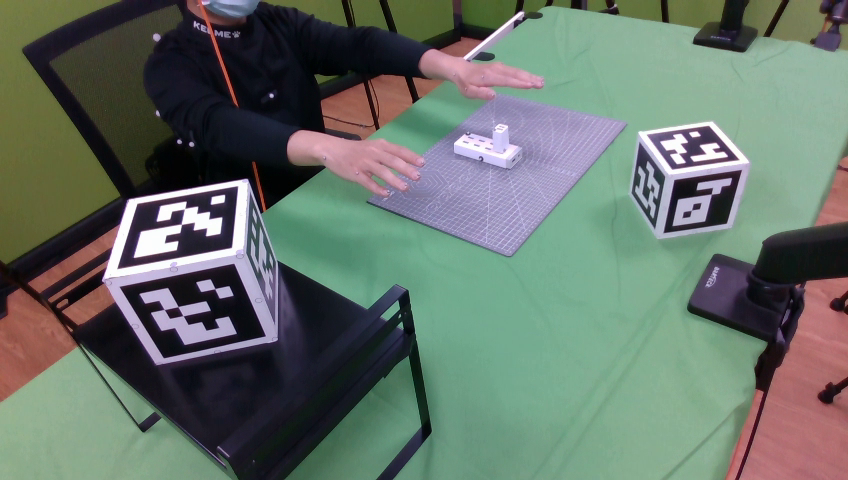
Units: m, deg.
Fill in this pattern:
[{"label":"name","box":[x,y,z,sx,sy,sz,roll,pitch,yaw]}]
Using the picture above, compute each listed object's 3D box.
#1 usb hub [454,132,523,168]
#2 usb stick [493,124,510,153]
[{"label":"usb hub","box":[0.121,-0.170,1.144,0.124,0.025,0.049,22,48,29]},{"label":"usb stick","box":[0.142,-0.180,1.107,0.021,0.059,0.027,18,45,29]}]
